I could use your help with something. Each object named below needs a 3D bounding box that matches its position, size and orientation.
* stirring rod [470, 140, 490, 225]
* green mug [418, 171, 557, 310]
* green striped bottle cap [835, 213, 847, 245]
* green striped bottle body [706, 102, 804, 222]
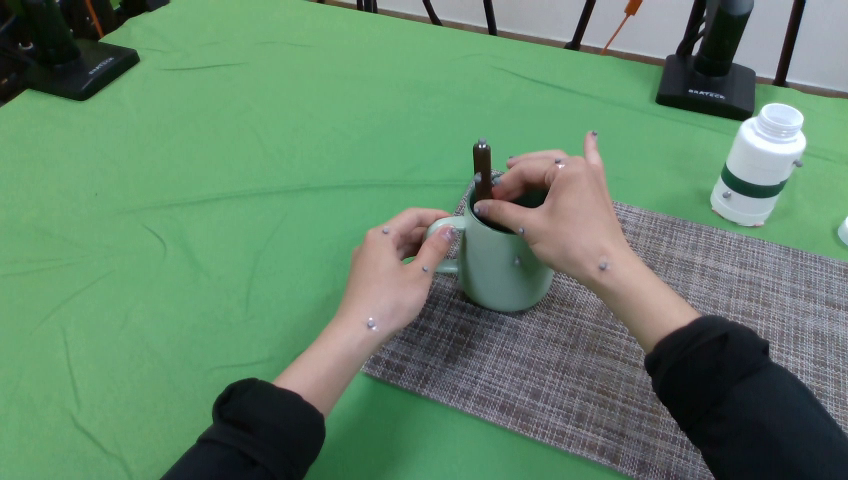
[{"bbox_3d":[0.050,-0.025,0.519,0.014,0.178,0.006,7,59,11],"label":"stirring rod"},{"bbox_3d":[0.057,0.004,0.550,0.125,0.106,0.091,-5,46,-4],"label":"green mug"},{"bbox_3d":[0.452,-0.009,0.624,0.044,0.020,0.044,1,43,0],"label":"green striped bottle cap"},{"bbox_3d":[0.341,-0.081,0.622,0.063,0.120,0.062,0,47,1],"label":"green striped bottle body"}]
